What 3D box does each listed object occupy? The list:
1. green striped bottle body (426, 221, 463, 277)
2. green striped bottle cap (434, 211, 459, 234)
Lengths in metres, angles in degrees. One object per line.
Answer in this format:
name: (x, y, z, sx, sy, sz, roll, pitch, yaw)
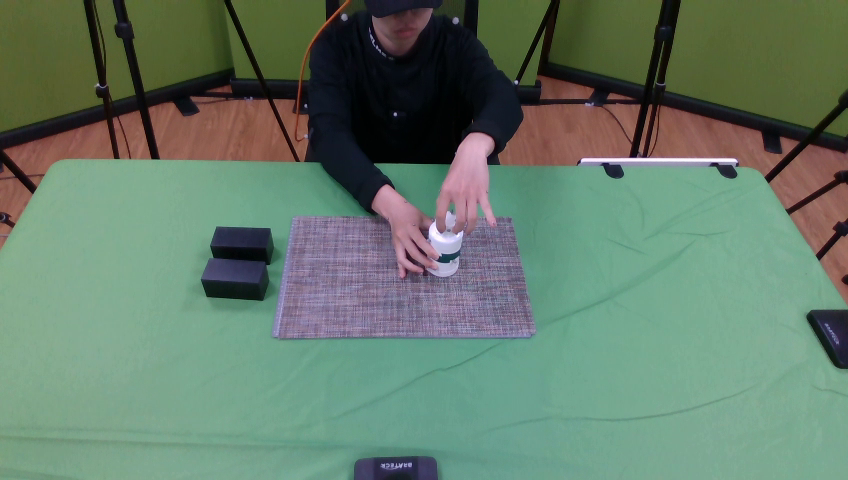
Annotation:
green striped bottle body: (0.037, 0.008, 1.121, 0.063, 0.120, 0.063, 2, 46, -2)
green striped bottle cap: (0.041, -0.031, 1.080, 0.044, 0.020, 0.044, 1, 43, -1)
